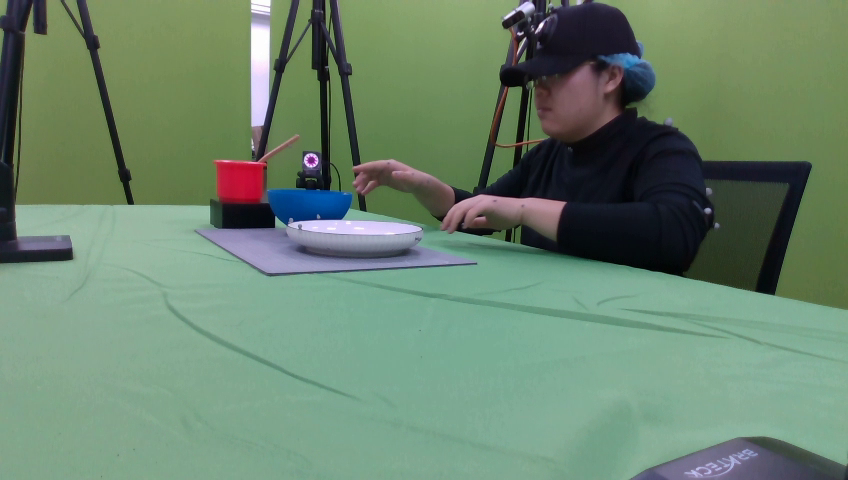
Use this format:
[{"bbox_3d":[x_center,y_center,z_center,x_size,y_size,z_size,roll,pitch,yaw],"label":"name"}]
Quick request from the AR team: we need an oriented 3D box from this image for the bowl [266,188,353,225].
[{"bbox_3d":[-0.204,-0.049,1.080,0.151,0.077,0.151,3,7,0],"label":"bowl"}]

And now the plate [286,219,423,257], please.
[{"bbox_3d":[-0.105,-0.004,0.923,0.208,0.039,0.207,3,8,0],"label":"plate"}]

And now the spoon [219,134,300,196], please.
[{"bbox_3d":[-0.317,-0.146,1.171,0.194,0.022,0.041,-45,21,-14],"label":"spoon"}]
